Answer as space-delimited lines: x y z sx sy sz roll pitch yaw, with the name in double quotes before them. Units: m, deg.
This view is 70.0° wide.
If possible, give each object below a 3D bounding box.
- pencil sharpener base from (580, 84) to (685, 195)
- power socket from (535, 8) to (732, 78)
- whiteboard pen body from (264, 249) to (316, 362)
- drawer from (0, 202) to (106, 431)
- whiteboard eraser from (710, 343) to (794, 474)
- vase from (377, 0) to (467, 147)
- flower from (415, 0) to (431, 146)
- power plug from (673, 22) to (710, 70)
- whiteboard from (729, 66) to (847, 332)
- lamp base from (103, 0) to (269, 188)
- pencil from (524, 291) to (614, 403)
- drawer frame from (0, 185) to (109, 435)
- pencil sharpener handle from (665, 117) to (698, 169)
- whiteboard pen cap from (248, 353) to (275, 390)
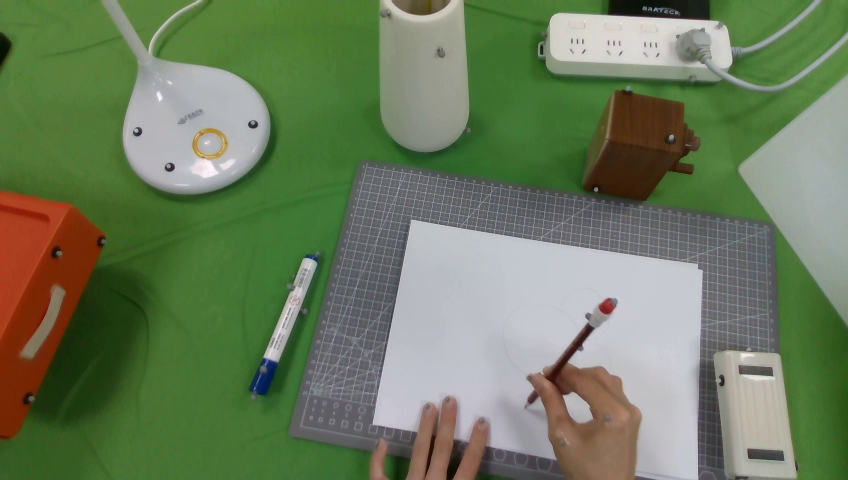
"pencil sharpener base" 0.211 -0.098 0.618 0.076 0.108 0.061 11 68 5
"power socket" 0.246 -0.231 0.711 0.227 0.033 0.071 4 69 1
"whiteboard pen body" -0.135 0.072 0.595 0.017 0.017 0.140 13 65 6
"drawer" -0.425 0.044 0.529 0.211 0.074 0.193 12 70 5
"whiteboard eraser" 0.295 0.152 0.550 0.055 0.042 0.112 4 68 0
"vase" -0.004 -0.177 0.601 0.098 0.201 0.097 -1 67 2
"flower" 0.005 -0.224 0.531 0.038 0.364 0.043 -3 49 -8
"power plug" 0.295 -0.210 0.677 0.035 0.053 0.072 13 70 6
"whiteboard" 0.484 -0.082 0.537 0.144 0.307 0.215 -14 67 -26
"lamp base" -0.264 -0.166 0.607 0.178 0.181 0.160 41 73 18
"pencil" 0.111 0.095 0.493 0.012 0.195 0.012 6 53 -7
"drawer frame" -0.431 0.045 0.531 0.213 0.083 0.200 12 69 3
"pencil sharpener handle" 0.261 -0.093 0.603 0.030 0.068 0.036 11 67 5
"whiteboard pen cap" -0.152 0.123 0.571 0.018 0.018 0.033 14 63 6
